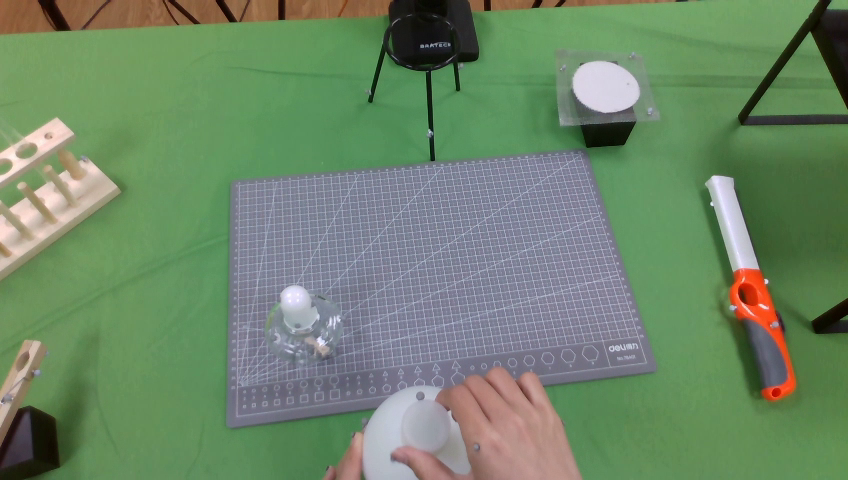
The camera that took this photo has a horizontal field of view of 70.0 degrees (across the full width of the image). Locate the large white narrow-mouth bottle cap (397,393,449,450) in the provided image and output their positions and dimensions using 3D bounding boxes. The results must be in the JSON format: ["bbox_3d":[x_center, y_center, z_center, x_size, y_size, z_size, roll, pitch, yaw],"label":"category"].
[{"bbox_3d":[-0.001,0.128,0.428,0.038,0.024,0.037,1,61,-2],"label":"large white narrow-mouth bottle cap"}]

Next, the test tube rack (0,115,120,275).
[{"bbox_3d":[-0.469,-0.023,0.656,0.066,0.086,0.242,39,67,17],"label":"test tube rack"}]

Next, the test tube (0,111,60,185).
[{"bbox_3d":[-0.434,-0.106,0.646,0.017,0.151,0.017,0,60,1],"label":"test tube"}]

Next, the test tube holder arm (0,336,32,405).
[{"bbox_3d":[-0.384,0.132,0.563,0.010,0.015,0.087,5,62,5],"label":"test tube holder arm"}]

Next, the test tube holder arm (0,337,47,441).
[{"bbox_3d":[-0.384,0.172,0.542,0.013,0.015,0.177,6,63,6],"label":"test tube holder arm"}]

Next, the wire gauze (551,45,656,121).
[{"bbox_3d":[0.224,-0.201,0.771,0.121,0.011,0.124,1,62,-2],"label":"wire gauze"}]

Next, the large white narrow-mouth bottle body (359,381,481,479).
[{"bbox_3d":[-0.004,0.175,0.511,0.102,0.196,0.101,1,61,-1],"label":"large white narrow-mouth bottle body"}]

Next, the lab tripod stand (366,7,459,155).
[{"bbox_3d":[-0.005,-0.201,0.745,0.148,0.132,0.147,2,62,-3],"label":"lab tripod stand"}]

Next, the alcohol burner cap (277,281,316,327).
[{"bbox_3d":[-0.122,0.058,0.569,0.034,0.048,0.033,0,57,1],"label":"alcohol burner cap"}]

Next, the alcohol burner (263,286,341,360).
[{"bbox_3d":[-0.123,0.075,0.601,0.078,0.120,0.077,2,60,-3],"label":"alcohol burner"}]

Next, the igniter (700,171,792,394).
[{"bbox_3d":[0.366,0.039,0.694,0.057,0.025,0.274,5,61,-12],"label":"igniter"}]
